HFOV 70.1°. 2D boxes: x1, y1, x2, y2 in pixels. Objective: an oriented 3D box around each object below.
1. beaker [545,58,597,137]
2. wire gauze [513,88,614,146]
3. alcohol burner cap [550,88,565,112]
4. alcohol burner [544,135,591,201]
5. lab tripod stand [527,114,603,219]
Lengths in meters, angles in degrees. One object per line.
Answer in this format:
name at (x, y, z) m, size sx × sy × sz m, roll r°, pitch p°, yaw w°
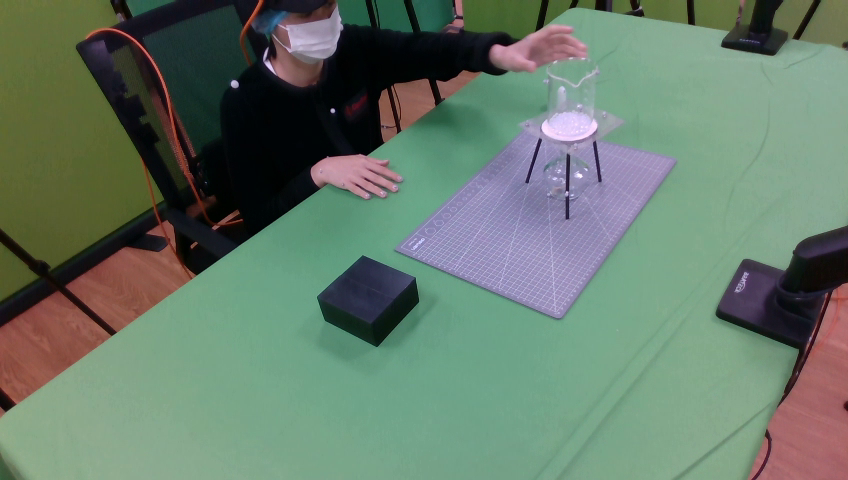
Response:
beaker at (0.225, -0.215, 0.927) m, size 0.074 × 0.101 × 0.083 m, roll -6°, pitch 40°, yaw 5°
wire gauze at (0.220, -0.193, 0.952) m, size 0.120 × 0.011 × 0.125 m, roll 22°, pitch 53°, yaw 27°
alcohol burner cap at (0.281, -0.296, 1.271) m, size 0.034 × 0.048 × 0.033 m, roll -4°, pitch 41°, yaw 4°
alcohol burner at (0.240, -0.125, 1.012) m, size 0.078 × 0.119 × 0.077 m, roll -5°, pitch 42°, yaw 5°
lab tripod stand at (0.234, -0.129, 1.002) m, size 0.148 × 0.132 × 0.147 m, roll -6°, pitch 40°, yaw 6°
